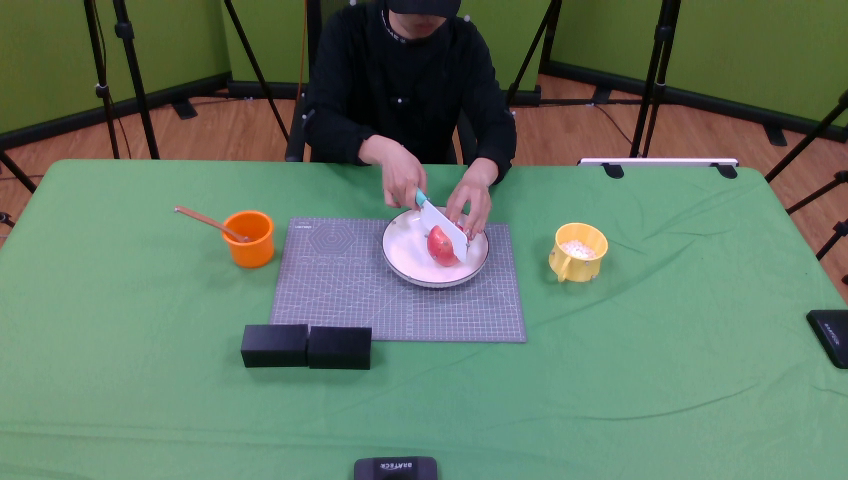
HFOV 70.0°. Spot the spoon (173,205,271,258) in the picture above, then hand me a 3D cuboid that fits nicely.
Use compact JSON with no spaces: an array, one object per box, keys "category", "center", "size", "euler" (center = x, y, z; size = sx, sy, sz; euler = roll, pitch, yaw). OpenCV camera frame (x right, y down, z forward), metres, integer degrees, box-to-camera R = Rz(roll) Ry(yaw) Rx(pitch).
[{"category":"spoon","center":[-0.362,-0.017,1.098],"size":[0.021,0.195,0.041],"euler":[-32,42,27]}]

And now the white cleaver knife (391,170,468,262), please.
[{"category":"white cleaver knife","center":[0.004,-0.051,1.157],"size":[0.021,0.066,0.284],"euler":[-12,38,-26]}]

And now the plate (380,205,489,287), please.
[{"category":"plate","center":[0.020,0.015,1.171],"size":[0.209,0.038,0.208],"euler":[2,46,-2]}]

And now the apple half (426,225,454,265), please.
[{"category":"apple half","center":[0.022,0.016,1.131],"size":[0.033,0.081,0.081],"euler":[-20,51,-25]}]

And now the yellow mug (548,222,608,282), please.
[{"category":"yellow mug","center":[0.287,0.031,1.159],"size":[0.099,0.064,0.130],"euler":[27,51,21]}]

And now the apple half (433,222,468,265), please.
[{"category":"apple half","center":[0.053,0.004,1.147],"size":[0.053,0.075,0.080],"euler":[-18,44,-31]}]
